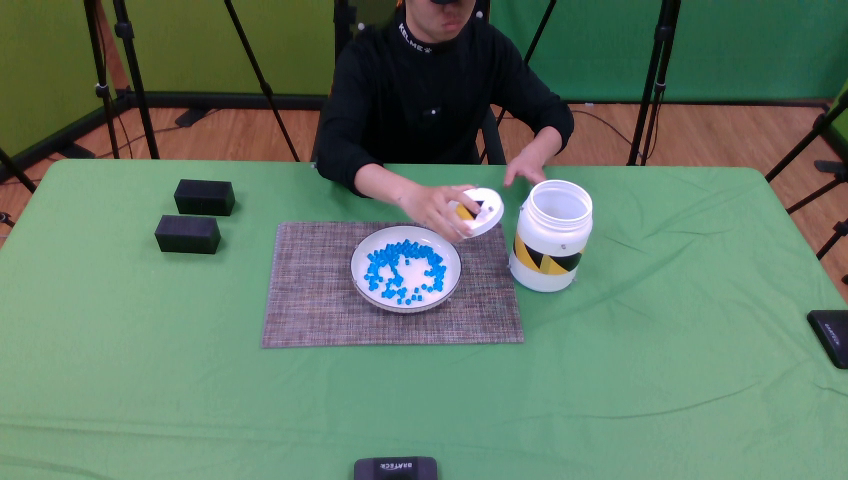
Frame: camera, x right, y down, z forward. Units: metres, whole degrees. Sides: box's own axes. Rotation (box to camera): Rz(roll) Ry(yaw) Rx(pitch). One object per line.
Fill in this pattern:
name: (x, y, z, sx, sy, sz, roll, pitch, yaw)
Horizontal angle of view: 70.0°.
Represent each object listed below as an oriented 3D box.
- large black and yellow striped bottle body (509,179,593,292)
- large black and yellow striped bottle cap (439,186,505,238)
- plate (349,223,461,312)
large black and yellow striped bottle body: (0.232, -0.008, 1.108, 0.131, 0.185, 0.130, 2, 46, -2)
large black and yellow striped bottle cap: (0.082, -0.049, 1.038, 0.115, 0.019, 0.114, -18, 37, 15)
plate: (-0.035, 0.054, 1.126, 0.208, 0.039, 0.206, 2, 46, -2)
